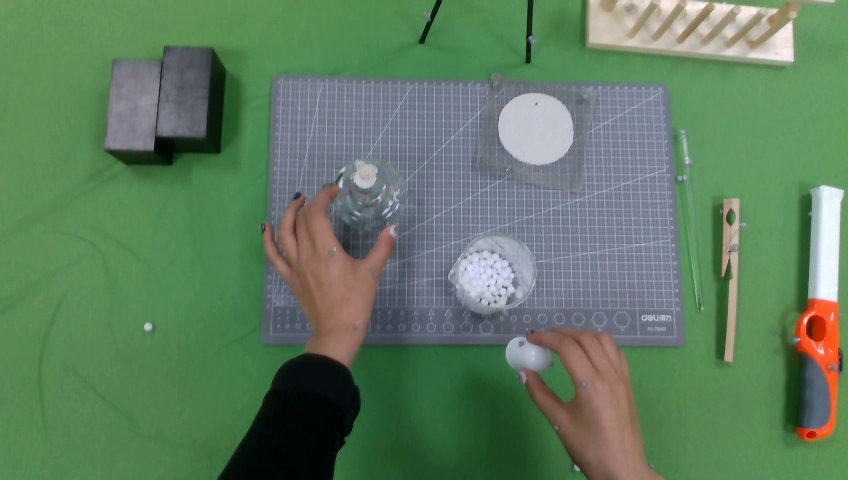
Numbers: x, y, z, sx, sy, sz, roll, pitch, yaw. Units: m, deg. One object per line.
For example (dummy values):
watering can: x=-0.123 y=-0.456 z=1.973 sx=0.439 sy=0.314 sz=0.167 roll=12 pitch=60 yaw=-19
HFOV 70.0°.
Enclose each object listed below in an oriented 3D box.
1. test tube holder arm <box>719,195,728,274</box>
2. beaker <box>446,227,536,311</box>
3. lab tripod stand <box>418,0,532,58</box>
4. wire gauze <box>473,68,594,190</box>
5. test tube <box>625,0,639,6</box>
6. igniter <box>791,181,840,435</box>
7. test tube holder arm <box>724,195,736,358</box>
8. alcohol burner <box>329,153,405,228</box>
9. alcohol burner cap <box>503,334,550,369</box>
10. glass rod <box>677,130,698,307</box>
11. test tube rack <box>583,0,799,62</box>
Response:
test tube holder arm: x=0.332 y=-0.006 z=0.670 sx=0.010 sy=0.015 sz=0.087 roll=-2 pitch=79 yaw=32
beaker: x=0.061 y=0.034 z=0.604 sx=0.084 sy=0.100 sz=0.073 roll=-7 pitch=80 yaw=-3
lab tripod stand: x=0.065 y=-0.266 z=0.639 sx=0.148 sy=0.132 sz=0.148 roll=0 pitch=82 yaw=-3
wire gauze: x=0.124 y=-0.127 z=0.680 sx=0.125 sy=0.011 sz=0.121 roll=12 pitch=81 yaw=-2
test tube: x=0.245 y=-0.287 z=0.626 sx=0.017 sy=0.150 sz=0.017 roll=1 pitch=81 yaw=-5
igniter: x=0.427 y=0.072 z=0.657 sx=0.057 sy=0.025 sz=0.275 roll=11 pitch=80 yaw=-11
test tube holder arm: x=0.334 y=0.038 z=0.660 sx=0.013 sy=0.015 sz=0.177 roll=-2 pitch=79 yaw=32
alcohol burner: x=-0.058 y=-0.054 z=0.605 sx=0.078 sy=0.119 sz=0.077 roll=0 pitch=79 yaw=-1
alcohol burner cap: x=0.098 y=0.103 z=0.563 sx=0.034 sy=0.048 sz=0.033 roll=3 pitch=81 yaw=-19
glass rod: x=0.294 y=-0.025 z=0.675 sx=0.008 sy=0.008 sz=0.199 roll=-2 pitch=83 yaw=-4
test tube rack: x=0.310 y=-0.259 z=0.675 sx=0.242 sy=0.085 sz=0.066 roll=4 pitch=80 yaw=-2
